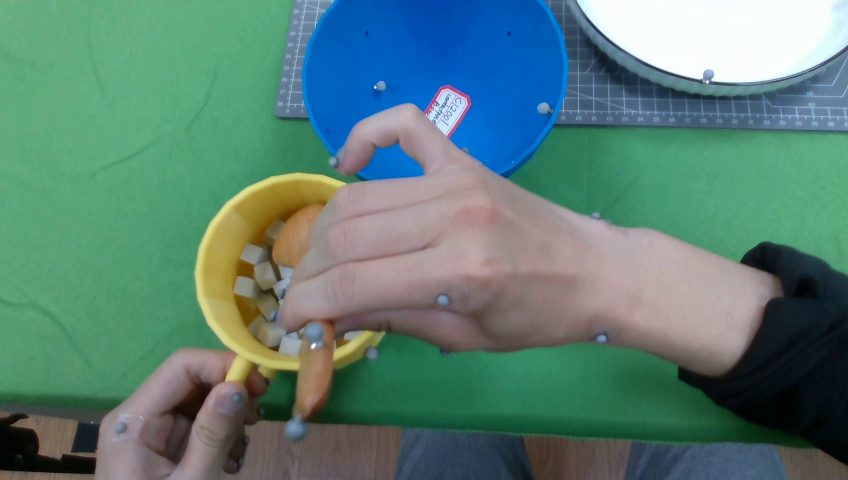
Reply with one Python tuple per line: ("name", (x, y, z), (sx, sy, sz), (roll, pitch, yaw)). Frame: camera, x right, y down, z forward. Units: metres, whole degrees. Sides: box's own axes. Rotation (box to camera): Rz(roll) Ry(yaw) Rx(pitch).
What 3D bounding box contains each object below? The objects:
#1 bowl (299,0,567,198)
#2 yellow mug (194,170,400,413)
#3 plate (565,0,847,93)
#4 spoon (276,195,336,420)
("bowl", (0.008, -0.087, 0.374), (0.151, 0.077, 0.150), (-1, 75, 5))
("yellow mug", (-0.071, 0.033, 0.326), (0.100, 0.064, 0.130), (27, 80, 3))
("plate", (0.193, -0.186, 0.414), (0.209, 0.038, 0.207), (-1, 71, 4))
("spoon", (-0.048, 0.017, 0.260), (0.022, 0.192, 0.041), (40, 97, -24))
